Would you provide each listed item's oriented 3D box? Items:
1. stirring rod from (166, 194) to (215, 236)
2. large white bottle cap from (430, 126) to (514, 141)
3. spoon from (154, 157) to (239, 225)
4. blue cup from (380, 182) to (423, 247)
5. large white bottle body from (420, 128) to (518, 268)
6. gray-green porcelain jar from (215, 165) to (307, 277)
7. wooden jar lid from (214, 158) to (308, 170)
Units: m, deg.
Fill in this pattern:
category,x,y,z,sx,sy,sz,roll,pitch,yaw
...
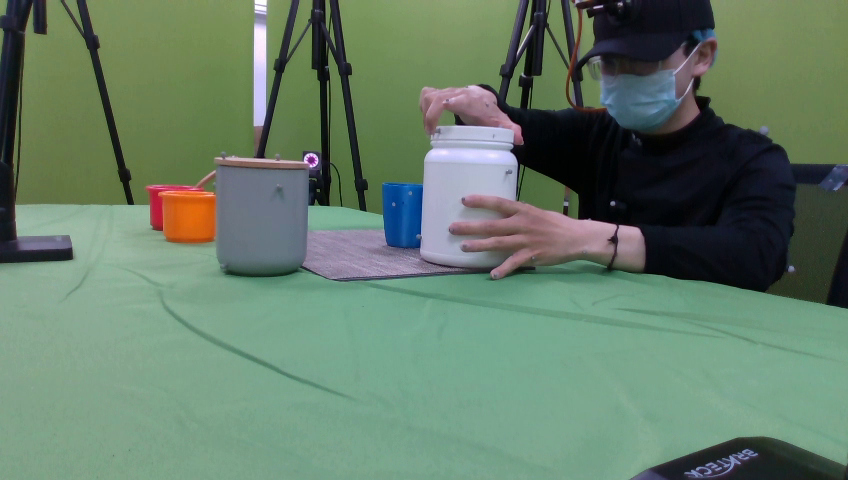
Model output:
category,x,y,z,sx,sy,sz,roll,pitch,yaw
stirring rod,-0.341,-0.066,0.967,0.176,0.006,0.014,-42,22,-9
large white bottle cap,0.065,-0.144,0.828,0.115,0.018,0.115,2,8,0
spoon,-0.411,-0.092,1.105,0.041,0.022,0.194,13,56,51
blue cup,-0.029,-0.042,0.980,0.093,0.100,0.092,2,9,0
large white bottle body,0.062,-0.062,0.839,0.131,0.184,0.130,2,7,0
gray-green porcelain jar,-0.195,-0.024,0.727,0.106,0.126,0.106,3,7,0
wooden jar lid,-0.193,-0.085,0.719,0.108,0.020,0.108,2,9,0
